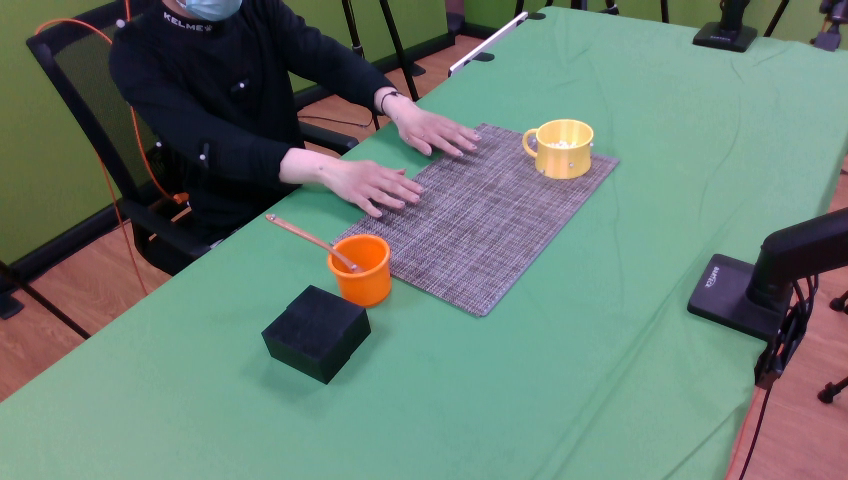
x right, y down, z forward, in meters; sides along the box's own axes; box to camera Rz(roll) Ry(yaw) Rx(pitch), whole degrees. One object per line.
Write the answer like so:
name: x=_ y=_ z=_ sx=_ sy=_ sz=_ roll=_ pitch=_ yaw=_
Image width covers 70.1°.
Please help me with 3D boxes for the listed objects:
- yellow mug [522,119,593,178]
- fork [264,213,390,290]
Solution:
yellow mug: x=0.237 y=-0.170 z=1.092 sx=0.130 sy=0.064 sz=0.100 roll=17 pitch=47 yaw=27
fork: x=-0.137 y=0.018 z=0.869 sx=0.208 sy=0.018 sz=0.028 roll=35 pitch=38 yaw=-18
